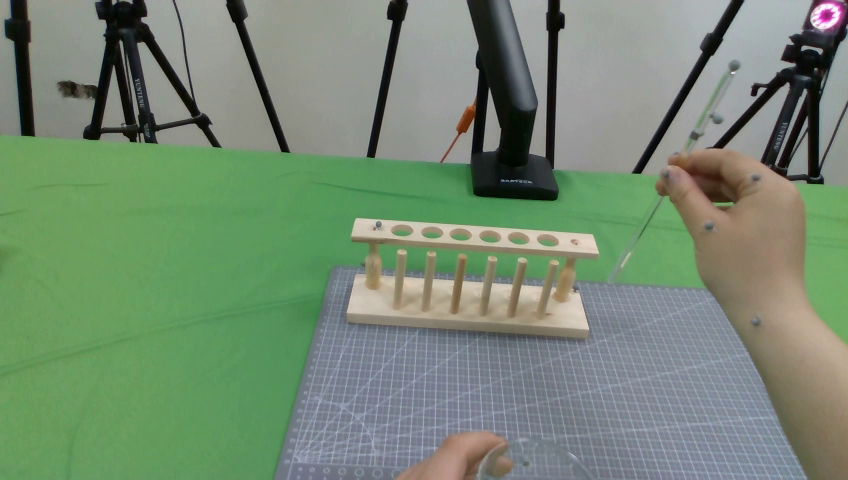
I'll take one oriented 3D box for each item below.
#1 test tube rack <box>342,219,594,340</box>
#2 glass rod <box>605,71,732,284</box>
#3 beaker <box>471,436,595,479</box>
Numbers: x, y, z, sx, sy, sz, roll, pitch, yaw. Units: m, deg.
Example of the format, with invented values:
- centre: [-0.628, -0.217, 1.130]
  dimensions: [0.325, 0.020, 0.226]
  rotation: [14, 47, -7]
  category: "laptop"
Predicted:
- centre: [0.043, 0.039, 0.611]
  dimensions: [0.242, 0.086, 0.066]
  rotation: [4, 34, -1]
  category: "test tube rack"
- centre: [0.169, -0.032, 0.434]
  dimensions: [0.008, 0.201, 0.008]
  rotation: [6, 46, -6]
  category: "glass rod"
- centre: [0.056, 0.183, 0.371]
  dimensions: [0.084, 0.101, 0.073]
  rotation: [-3, 35, -17]
  category: "beaker"
